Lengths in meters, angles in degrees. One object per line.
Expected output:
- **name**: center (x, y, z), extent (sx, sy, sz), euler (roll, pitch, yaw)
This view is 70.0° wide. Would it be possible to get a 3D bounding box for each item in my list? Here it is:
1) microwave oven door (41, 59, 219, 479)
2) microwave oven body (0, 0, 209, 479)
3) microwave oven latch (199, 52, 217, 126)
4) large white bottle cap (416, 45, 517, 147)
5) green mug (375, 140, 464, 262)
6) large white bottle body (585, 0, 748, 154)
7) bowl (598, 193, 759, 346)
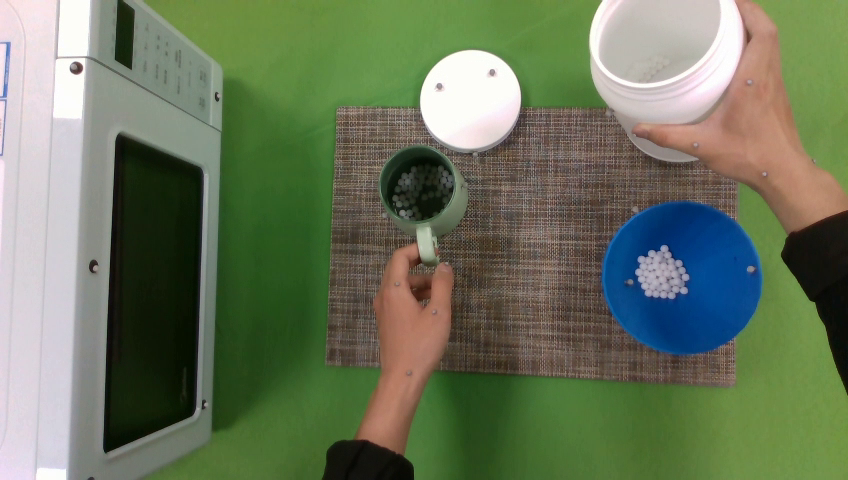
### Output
- **microwave oven door**: center (-0.267, 0.041, 0.582), extent (0.039, 0.244, 0.355), euler (0, 87, 7)
- **microwave oven body**: center (-0.412, -0.001, 0.603), extent (0.326, 0.260, 0.441), euler (0, 88, 5)
- **microwave oven latch**: center (-0.253, -0.171, 0.692), extent (0.030, 0.029, 0.079), euler (1, 88, 5)
- **large white bottle cap**: center (0.048, -0.163, 0.684), extent (0.115, 0.018, 0.114), euler (-1, 83, 6)
- **green mug**: center (-0.003, -0.039, 0.641), extent (0.092, 0.105, 0.125), euler (-8, 86, 5)
- **large white bottle body**: center (0.229, -0.166, 0.569), extent (0.130, 0.186, 0.130), euler (-5, 79, 29)
- **bowl**: center (0.251, 0.031, 0.625), extent (0.151, 0.077, 0.151), euler (0, 87, 6)
